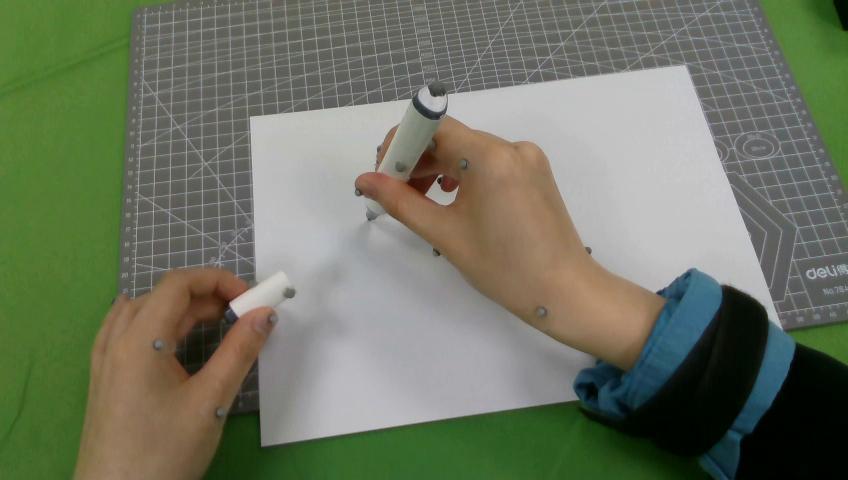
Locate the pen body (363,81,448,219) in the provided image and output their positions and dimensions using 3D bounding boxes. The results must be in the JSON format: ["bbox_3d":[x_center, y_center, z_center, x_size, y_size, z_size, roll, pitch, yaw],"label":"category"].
[{"bbox_3d":[-0.015,-0.035,0.307,0.017,0.144,0.017,5,71,-15],"label":"pen body"}]

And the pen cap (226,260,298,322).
[{"bbox_3d":[-0.086,0.028,0.321,0.038,0.017,0.017,-35,70,4],"label":"pen cap"}]
